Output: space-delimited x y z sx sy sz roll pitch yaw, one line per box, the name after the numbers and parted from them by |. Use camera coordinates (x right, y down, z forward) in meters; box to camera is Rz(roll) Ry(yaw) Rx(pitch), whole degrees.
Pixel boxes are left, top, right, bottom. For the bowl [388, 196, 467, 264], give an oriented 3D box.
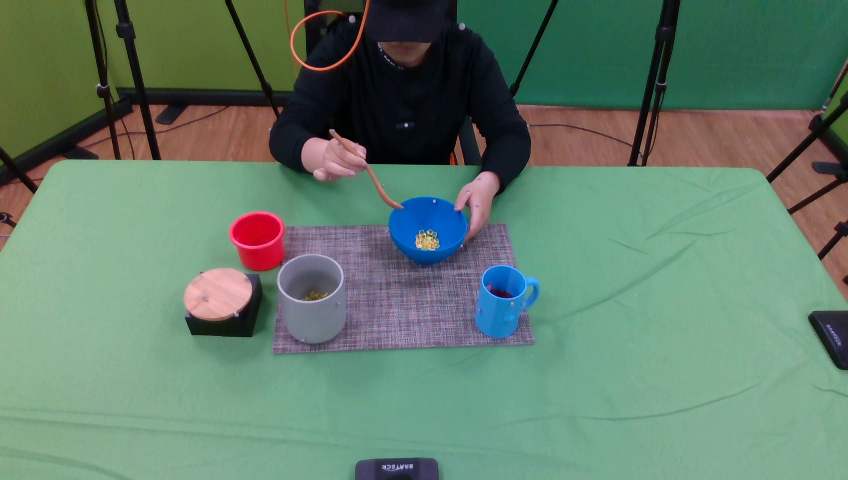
0.005 -0.007 1.161 0.151 0.077 0.150 2 46 -2 | bowl

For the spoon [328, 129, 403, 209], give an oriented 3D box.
-0.100 -0.121 1.053 0.021 0.195 0.041 -39 26 -1 | spoon

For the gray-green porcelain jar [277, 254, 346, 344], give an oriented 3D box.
-0.184 0.102 1.008 0.106 0.127 0.105 2 46 -2 | gray-green porcelain jar

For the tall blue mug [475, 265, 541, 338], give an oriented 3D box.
0.142 0.099 1.047 0.077 0.108 0.107 33 52 27 | tall blue mug

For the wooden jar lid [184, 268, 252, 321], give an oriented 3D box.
-0.343 0.093 1.015 0.108 0.021 0.107 3 46 -3 | wooden jar lid
